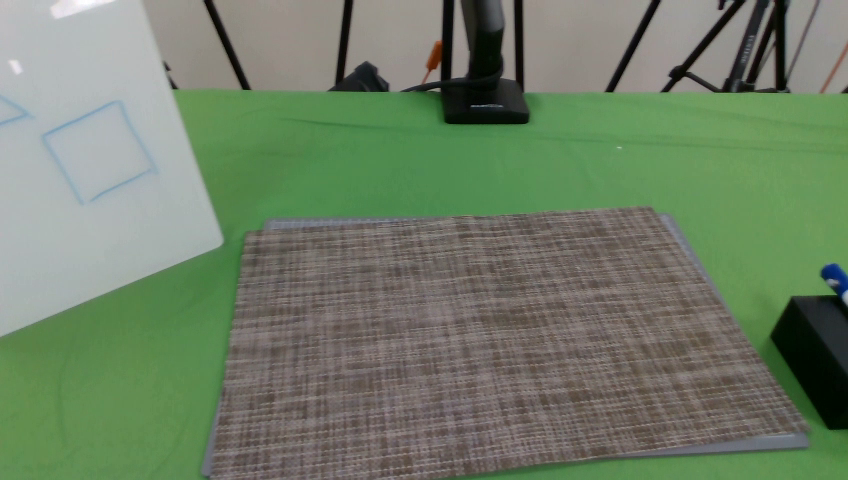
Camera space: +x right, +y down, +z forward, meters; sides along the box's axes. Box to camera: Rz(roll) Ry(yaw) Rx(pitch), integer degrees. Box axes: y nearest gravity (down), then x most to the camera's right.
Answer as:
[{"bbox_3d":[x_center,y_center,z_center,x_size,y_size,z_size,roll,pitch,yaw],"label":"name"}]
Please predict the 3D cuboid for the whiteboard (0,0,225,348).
[{"bbox_3d":[-0.354,-0.098,0.553,0.217,0.307,0.142,-26,27,-30],"label":"whiteboard"}]

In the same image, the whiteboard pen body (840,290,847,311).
[{"bbox_3d":[0.360,0.076,0.472,0.017,0.017,0.139,-2,39,-4],"label":"whiteboard pen body"}]

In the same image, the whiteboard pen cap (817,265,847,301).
[{"bbox_3d":[0.355,0.037,0.519,0.018,0.018,0.033,-3,38,-5],"label":"whiteboard pen cap"}]
